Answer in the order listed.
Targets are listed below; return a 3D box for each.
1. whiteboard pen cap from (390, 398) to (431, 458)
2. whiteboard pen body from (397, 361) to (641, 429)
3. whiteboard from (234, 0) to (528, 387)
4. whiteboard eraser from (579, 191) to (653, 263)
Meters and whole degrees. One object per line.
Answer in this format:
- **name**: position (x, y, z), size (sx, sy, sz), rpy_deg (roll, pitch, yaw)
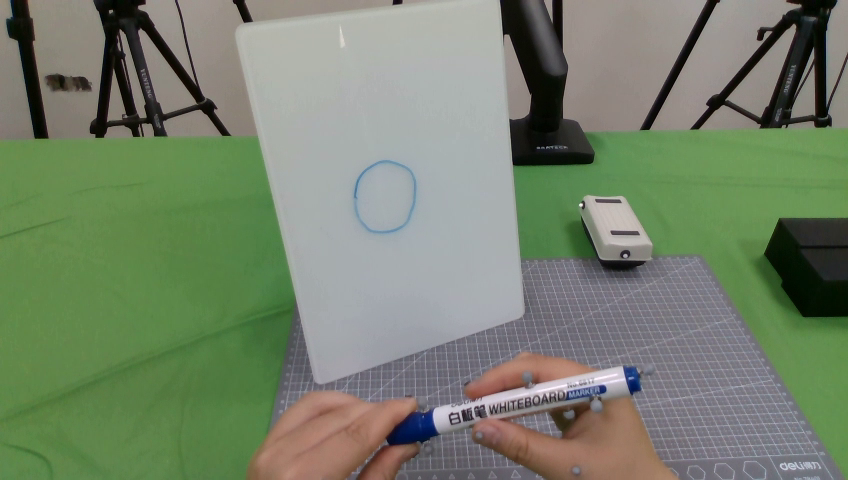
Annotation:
- **whiteboard pen cap**: position (-0.008, 0.109, 0.353), size (0.018, 0.033, 0.018), rpy_deg (21, 20, -7)
- **whiteboard pen body**: position (0.048, 0.089, 0.334), size (0.140, 0.017, 0.017), rpy_deg (-18, 33, 18)
- **whiteboard**: position (-0.041, -0.057, 0.573), size (0.218, 0.307, 0.142), rpy_deg (-15, 21, -18)
- **whiteboard eraser**: position (0.216, -0.016, 0.692), size (0.055, 0.042, 0.111), rpy_deg (-2, 34, 0)
